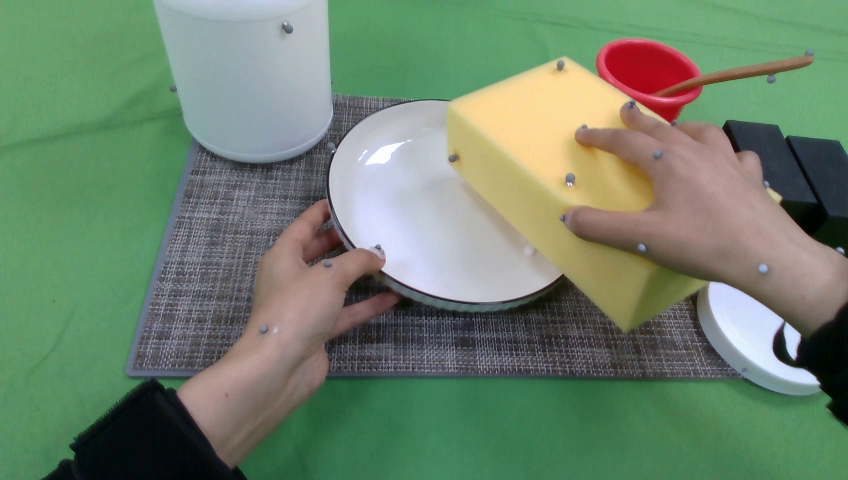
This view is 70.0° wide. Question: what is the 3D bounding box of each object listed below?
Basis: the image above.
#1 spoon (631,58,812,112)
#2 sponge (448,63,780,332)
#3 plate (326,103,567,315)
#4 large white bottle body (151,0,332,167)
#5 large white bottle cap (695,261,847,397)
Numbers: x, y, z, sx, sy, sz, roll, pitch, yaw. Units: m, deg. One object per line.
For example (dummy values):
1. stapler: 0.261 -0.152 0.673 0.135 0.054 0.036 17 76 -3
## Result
1. spoon: 0.234 -0.132 0.541 0.041 0.193 0.022 -49 116 -36
2. sponge: 0.122 -0.044 0.441 0.118 0.061 0.204 -27 51 -21
3. plate: 0.026 -0.026 0.485 0.210 0.038 0.207 7 53 -9
4. large white bottle body: -0.143 -0.166 0.492 0.131 0.186 0.129 3 50 -4
5. large white bottle cap: 0.268 0.065 0.467 0.115 0.018 0.113 5 50 -6
